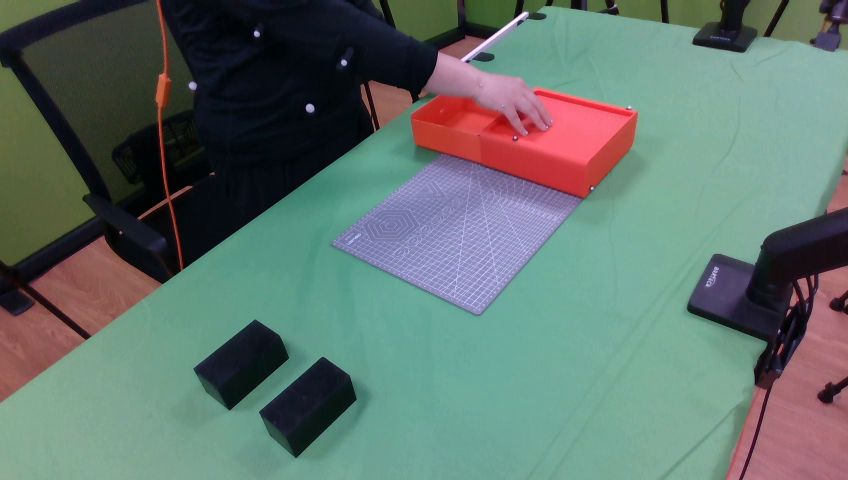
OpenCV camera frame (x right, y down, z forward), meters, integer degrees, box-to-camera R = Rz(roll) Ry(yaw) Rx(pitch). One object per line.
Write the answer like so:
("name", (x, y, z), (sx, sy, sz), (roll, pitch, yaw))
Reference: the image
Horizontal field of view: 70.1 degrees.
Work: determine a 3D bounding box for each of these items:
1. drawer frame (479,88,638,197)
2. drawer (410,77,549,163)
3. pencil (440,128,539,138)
("drawer frame", (0.243, -0.184, 1.101), (0.212, 0.083, 0.202), (23, 48, 30))
("drawer", (0.113, -0.236, 1.185), (0.210, 0.073, 0.195), (21, 46, 32))
("pencil", (0.128, -0.209, 1.191), (0.194, 0.012, 0.012), (-2, 40, 8))
